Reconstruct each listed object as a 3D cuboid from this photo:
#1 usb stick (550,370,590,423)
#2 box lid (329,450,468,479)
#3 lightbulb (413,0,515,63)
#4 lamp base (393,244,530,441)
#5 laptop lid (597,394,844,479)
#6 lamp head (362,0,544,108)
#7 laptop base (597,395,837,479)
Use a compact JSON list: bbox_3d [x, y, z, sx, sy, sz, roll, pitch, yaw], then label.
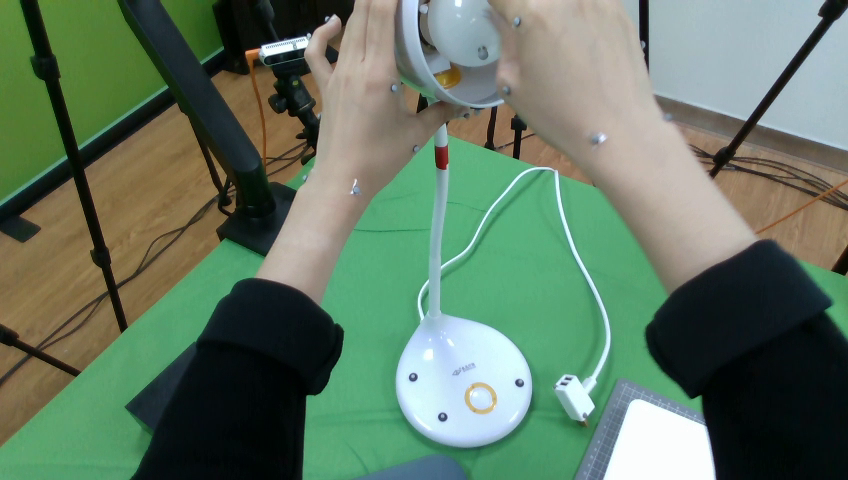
[{"bbox_3d":[0.167,0.177,0.680,0.027,0.059,0.021,-36,14,-31],"label":"usb stick"},{"bbox_3d":[-0.041,0.382,0.529,0.264,0.015,0.367,-13,51,-10],"label":"box lid"},{"bbox_3d":[0.019,-0.152,0.417,0.059,0.060,0.107,-25,22,-20],"label":"lightbulb"},{"bbox_3d":[0.033,0.101,0.661,0.161,0.182,0.177,-30,51,-23],"label":"lamp base"},{"bbox_3d":[0.330,0.309,0.565,0.354,0.013,0.240,22,55,20],"label":"laptop lid"},{"bbox_3d":[0.010,-0.154,0.444,0.112,0.113,0.122,-31,23,-24],"label":"lamp head"},{"bbox_3d":[0.332,0.315,0.575,0.352,0.023,0.234,21,56,18],"label":"laptop base"}]
